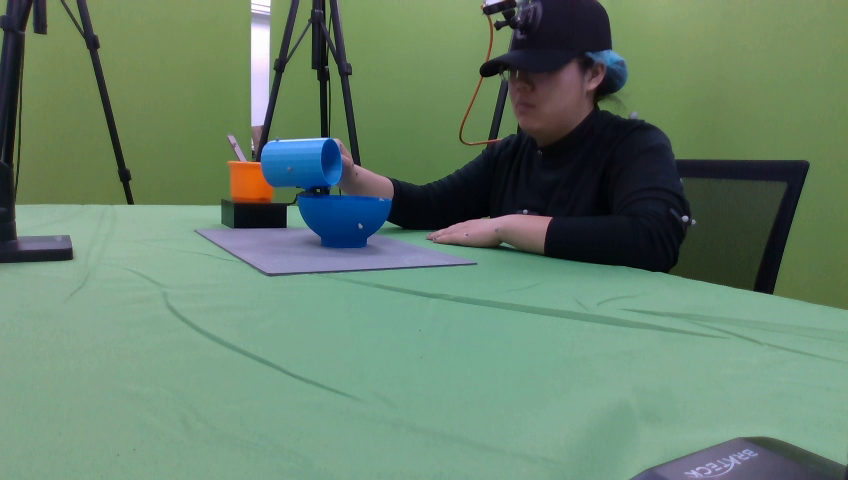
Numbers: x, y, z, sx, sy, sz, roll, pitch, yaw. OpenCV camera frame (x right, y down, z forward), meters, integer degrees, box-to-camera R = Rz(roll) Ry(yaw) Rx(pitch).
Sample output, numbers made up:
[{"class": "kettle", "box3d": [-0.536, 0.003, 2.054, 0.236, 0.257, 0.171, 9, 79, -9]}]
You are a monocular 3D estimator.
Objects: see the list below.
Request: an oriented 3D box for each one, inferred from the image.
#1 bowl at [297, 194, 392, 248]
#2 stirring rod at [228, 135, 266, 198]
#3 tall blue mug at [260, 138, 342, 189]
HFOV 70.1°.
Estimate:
[{"class": "bowl", "box3d": [-0.127, -0.030, 0.964, 0.151, 0.077, 0.151, 2, 7, 0]}, {"class": "stirring rod", "box3d": [-0.352, -0.148, 1.198, 0.014, 0.006, 0.175, -7, 54, -44]}, {"class": "tall blue mug", "box3d": [-0.194, -0.135, 0.993, 0.107, 0.078, 0.107, 0, 43, 19]}]
